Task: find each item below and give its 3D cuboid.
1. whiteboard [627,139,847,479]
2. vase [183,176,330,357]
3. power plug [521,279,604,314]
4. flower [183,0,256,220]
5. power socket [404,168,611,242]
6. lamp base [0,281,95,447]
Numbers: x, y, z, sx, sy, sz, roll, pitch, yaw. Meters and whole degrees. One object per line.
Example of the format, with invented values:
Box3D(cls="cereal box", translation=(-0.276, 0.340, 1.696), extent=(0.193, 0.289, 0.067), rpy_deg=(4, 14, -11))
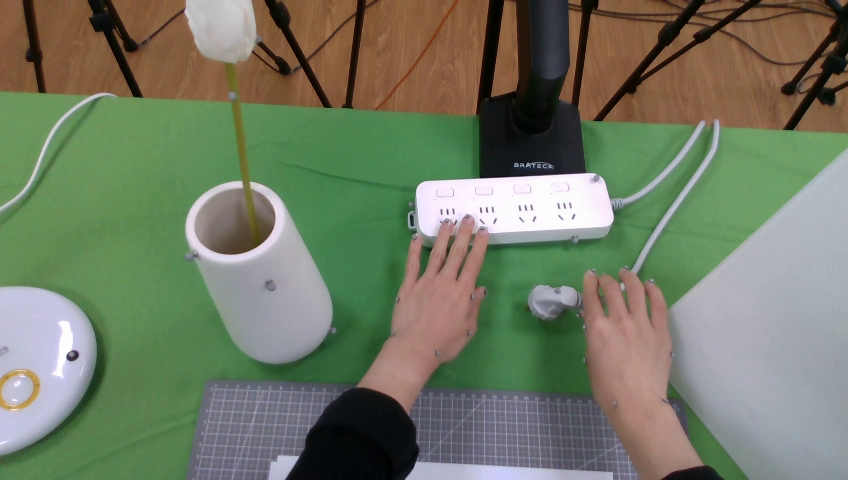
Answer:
Box3D(cls="whiteboard", translation=(0.361, 0.065, 0.492), extent=(0.144, 0.307, 0.215), rpy_deg=(-19, 62, -33))
Box3D(cls="vase", translation=(-0.139, 0.029, 0.514), extent=(0.098, 0.201, 0.097), rpy_deg=(0, 61, 0))
Box3D(cls="power plug", translation=(0.133, 0.063, 0.600), extent=(0.073, 0.053, 0.035), rpy_deg=(28, 57, -10))
Box3D(cls="flower", translation=(-0.129, -0.026, 0.451), extent=(0.038, 0.365, 0.043), rpy_deg=(-8, 44, -14))
Box3D(cls="power socket", translation=(0.092, -0.038, 0.654), extent=(0.227, 0.033, 0.071), rpy_deg=(-3, 63, -4))
Box3D(cls="lamp base", translation=(-0.396, 0.068, 0.492), extent=(0.178, 0.181, 0.160), rpy_deg=(32, 65, 17))
